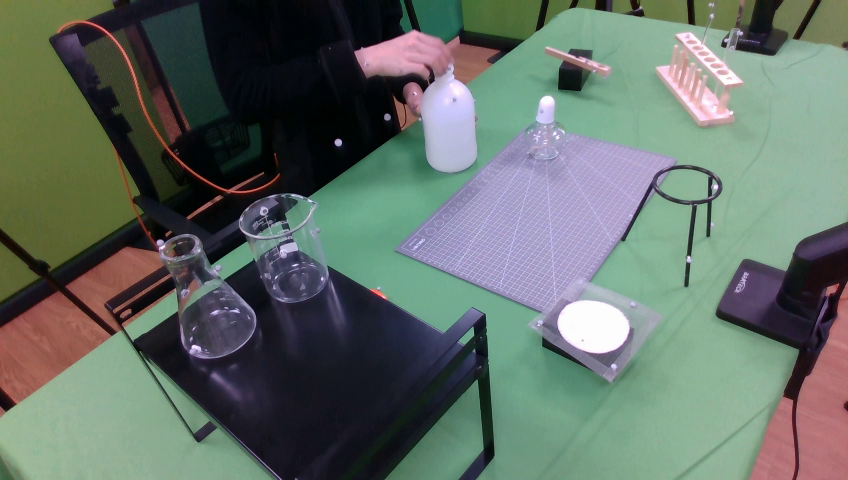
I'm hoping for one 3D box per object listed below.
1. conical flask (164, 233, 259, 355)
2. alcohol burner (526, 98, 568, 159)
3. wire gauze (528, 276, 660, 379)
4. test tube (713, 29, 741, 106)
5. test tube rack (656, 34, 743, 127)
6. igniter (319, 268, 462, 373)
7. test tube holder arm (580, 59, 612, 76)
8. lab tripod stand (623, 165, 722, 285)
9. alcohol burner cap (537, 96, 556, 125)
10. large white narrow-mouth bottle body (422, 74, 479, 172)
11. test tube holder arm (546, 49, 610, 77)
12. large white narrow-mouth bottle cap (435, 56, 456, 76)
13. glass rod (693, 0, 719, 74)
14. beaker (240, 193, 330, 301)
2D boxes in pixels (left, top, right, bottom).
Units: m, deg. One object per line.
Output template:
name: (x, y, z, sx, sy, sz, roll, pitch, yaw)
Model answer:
conical flask: (-0.217, 0.051, 0.601, 0.075, 0.122, 0.075, -4, 40, 4)
alcohol burner: (0.228, -0.210, 1.118, 0.078, 0.119, 0.077, -5, 43, 5)
wire gauze: (0.213, 0.103, 0.763, 0.124, 0.011, 0.122, 30, 52, 35)
test tube: (0.572, -0.324, 1.146, 0.017, 0.151, 0.017, -3, 39, 3)
test tube rack: (0.553, -0.330, 1.233, 0.067, 0.085, 0.241, -7, 40, 2)
igniter: (-0.059, 0.107, 0.862, 0.274, 0.025, 0.057, 28, 62, 34)
test tube holder arm: (0.363, -0.369, 1.288, 0.010, 0.015, 0.087, -27, 43, -29)
lab tripod stand: (0.365, -0.030, 0.875, 0.148, 0.132, 0.147, -6, 41, 6)
alcohol burner cap: (0.223, -0.237, 1.095, 0.034, 0.048, 0.033, -1, 42, 1)
large white narrow-mouth bottle body: (0.047, -0.229, 1.112, 0.102, 0.195, 0.101, -4, 41, 4)
test tube holder arm: (0.331, -0.387, 1.315, 0.013, 0.015, 0.177, -26, 43, -28)
large white narrow-mouth bottle cap: (0.037, -0.302, 1.047, 0.038, 0.024, 0.037, -4, 41, 4)
glass rod: (0.560, -0.401, 1.214, 0.008, 0.200, 0.008, -1, 48, 2)
beaker: (-0.144, 0.009, 0.656, 0.084, 0.101, 0.073, -25, 43, -19)
